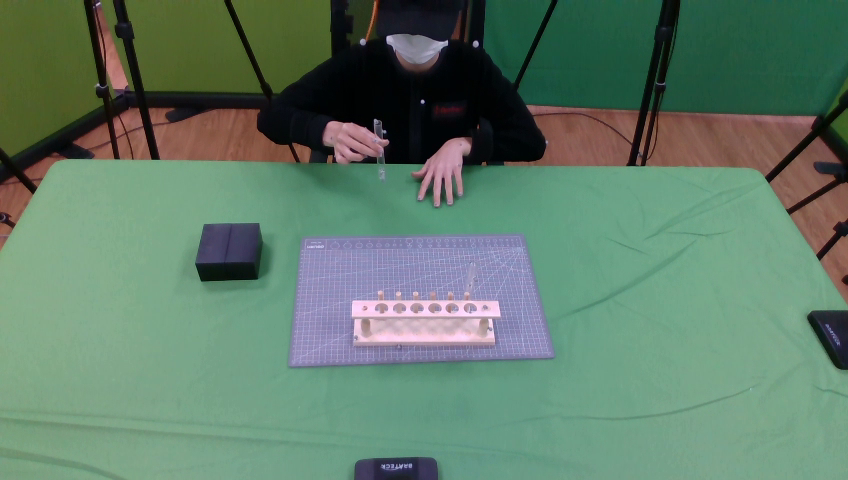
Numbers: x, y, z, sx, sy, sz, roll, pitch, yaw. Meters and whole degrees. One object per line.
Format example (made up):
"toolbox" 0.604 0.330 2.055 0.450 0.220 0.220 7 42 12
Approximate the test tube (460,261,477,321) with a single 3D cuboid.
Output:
"test tube" 0.073 0.087 1.010 0.017 0.151 0.017 2 47 -2

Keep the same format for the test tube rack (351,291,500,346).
"test tube rack" 0.000 0.129 1.026 0.242 0.085 0.066 1 46 -4

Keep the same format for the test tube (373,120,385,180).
"test tube" -0.087 -0.171 1.177 0.017 0.151 0.017 0 51 0
